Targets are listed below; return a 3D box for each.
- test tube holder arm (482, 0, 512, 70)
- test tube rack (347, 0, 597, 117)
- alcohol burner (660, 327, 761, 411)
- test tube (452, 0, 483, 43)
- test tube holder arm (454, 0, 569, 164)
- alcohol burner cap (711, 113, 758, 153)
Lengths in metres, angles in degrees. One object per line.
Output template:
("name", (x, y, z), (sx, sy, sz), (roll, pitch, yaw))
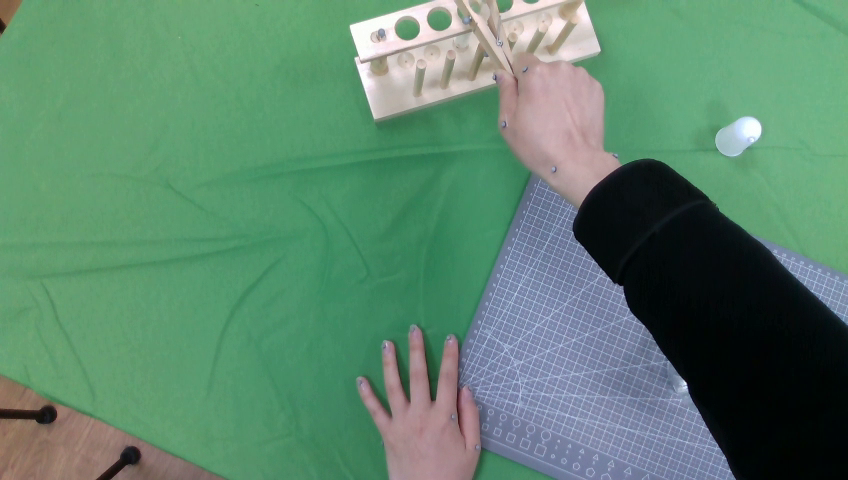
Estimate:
("test tube holder arm", (0.058, -0.182, 0.516), (0.010, 0.015, 0.087), (-11, 79, -12))
("test tube rack", (0.054, -0.195, 0.580), (0.242, 0.085, 0.066), (-17, 87, -5))
("alcohol burner", (0.266, 0.118, 0.551), (0.078, 0.119, 0.077), (0, 83, -2))
("test tube", (0.042, -0.208, 0.531), (0.017, 0.150, 0.017), (0, 86, -6))
("test tube holder arm", (0.071, -0.140, 0.508), (0.013, 0.015, 0.178), (-27, 83, -13))
("alcohol burner cap", (0.315, -0.110, 0.610), (0.034, 0.048, 0.033), (0, 80, -2))
